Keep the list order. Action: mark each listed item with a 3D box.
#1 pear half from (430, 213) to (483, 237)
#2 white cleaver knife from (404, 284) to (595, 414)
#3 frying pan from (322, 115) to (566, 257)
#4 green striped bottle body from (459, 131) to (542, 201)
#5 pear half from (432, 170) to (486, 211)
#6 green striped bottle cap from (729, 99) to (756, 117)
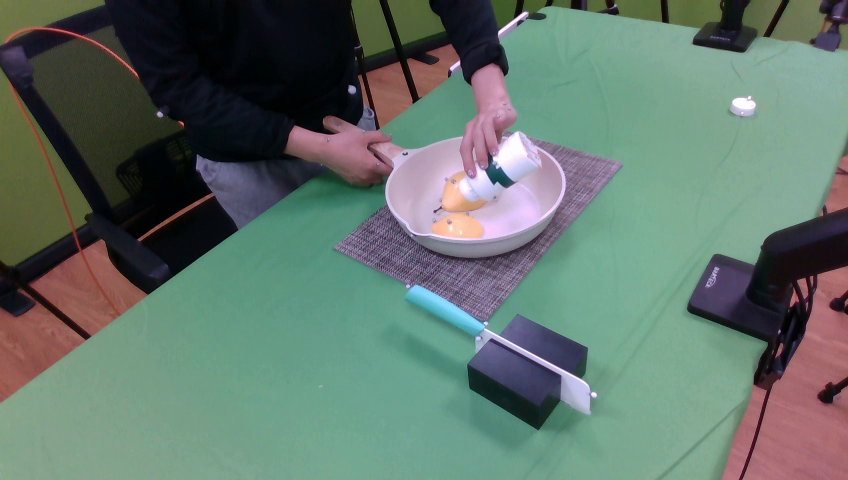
[{"bbox_3d":[0.051,-0.024,0.972,0.087,0.031,0.070,14,39,18],"label":"pear half"},{"bbox_3d":[0.084,0.135,0.764,0.284,0.066,0.021,28,47,31],"label":"white cleaver knife"},{"bbox_3d":[0.004,-0.121,1.039,0.484,0.103,0.308,31,52,25],"label":"frying pan"},{"bbox_3d":[0.109,-0.103,0.892,0.119,0.063,0.063,-33,31,29],"label":"green striped bottle body"},{"bbox_3d":[0.057,-0.083,1.023,0.110,0.056,0.075,-32,41,-25],"label":"pear half"},{"bbox_3d":[0.623,-0.259,1.182,0.044,0.020,0.044,-3,41,3],"label":"green striped bottle cap"}]
